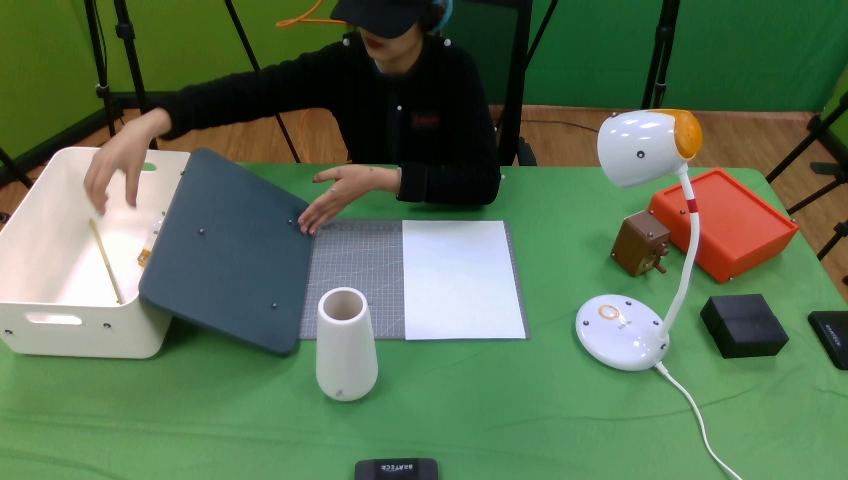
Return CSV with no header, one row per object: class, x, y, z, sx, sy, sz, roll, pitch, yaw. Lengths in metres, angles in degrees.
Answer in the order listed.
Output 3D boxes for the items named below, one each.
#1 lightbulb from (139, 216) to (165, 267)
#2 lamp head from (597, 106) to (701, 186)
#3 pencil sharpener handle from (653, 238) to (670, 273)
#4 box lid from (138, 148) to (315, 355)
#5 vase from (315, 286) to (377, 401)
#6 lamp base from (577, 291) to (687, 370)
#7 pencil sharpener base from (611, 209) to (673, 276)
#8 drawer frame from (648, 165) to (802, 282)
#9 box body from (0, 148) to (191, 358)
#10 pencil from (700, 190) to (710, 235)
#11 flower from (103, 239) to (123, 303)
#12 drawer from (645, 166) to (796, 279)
lightbulb,-0.495,0.004,1.132,0.059,0.060,0.107,18,63,13
lamp head,0.328,-0.138,0.865,0.112,0.113,0.122,-36,20,-32
pencil sharpener handle,0.444,0.030,1.120,0.036,0.068,0.030,-25,52,-18
box lid,-0.321,0.008,1.063,0.264,0.015,0.369,30,38,-28
vase,-0.119,0.159,0.911,0.098,0.201,0.097,2,47,-2
lamp base,0.361,0.110,1.003,0.160,0.181,0.178,-31,57,-28
pencil sharpener base,0.416,0.007,1.158,0.061,0.107,0.076,-21,51,-22
drawer frame,0.603,-0.040,1.233,0.202,0.083,0.212,-21,51,-23
box body,-0.546,0.017,1.045,0.254,0.161,0.361,2,46,-2
pencil,0.584,-0.059,1.256,0.012,0.012,0.193,16,34,11
flower,-0.556,0.069,1.089,0.044,0.038,0.359,-24,47,-19
drawer,0.600,-0.041,1.236,0.195,0.073,0.210,-21,51,-23
